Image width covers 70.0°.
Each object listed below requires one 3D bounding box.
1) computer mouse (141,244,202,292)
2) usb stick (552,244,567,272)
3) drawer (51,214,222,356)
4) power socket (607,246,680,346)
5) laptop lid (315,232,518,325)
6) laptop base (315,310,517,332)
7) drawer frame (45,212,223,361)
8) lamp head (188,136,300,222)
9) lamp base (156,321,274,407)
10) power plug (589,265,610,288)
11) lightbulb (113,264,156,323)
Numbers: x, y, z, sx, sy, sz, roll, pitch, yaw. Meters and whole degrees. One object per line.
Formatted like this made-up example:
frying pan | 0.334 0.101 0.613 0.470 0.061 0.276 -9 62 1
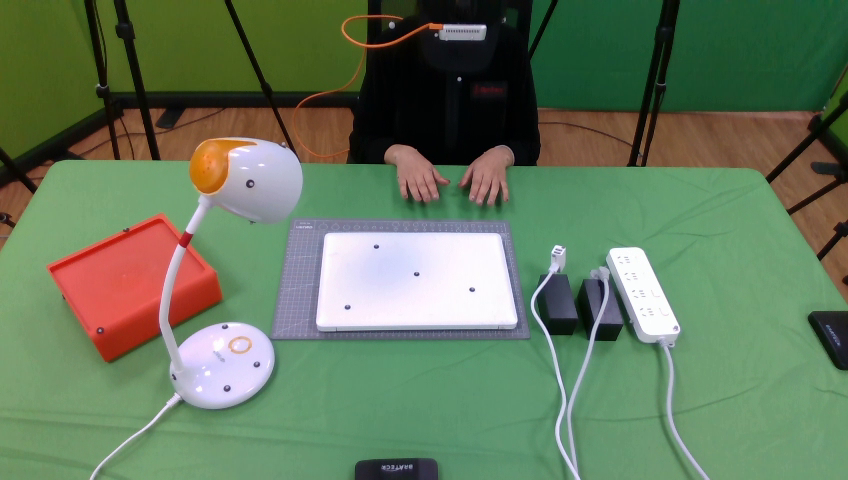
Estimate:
computer mouse | -0.460 0.044 1.099 0.116 0.041 0.063 29 52 29
usb stick | 0.251 0.039 1.123 0.021 0.059 0.027 14 47 24
drawer | -0.495 0.071 1.053 0.212 0.073 0.193 -32 57 -29
power socket | 0.403 0.096 1.123 0.072 0.033 0.225 -2 46 -5
laptop lid | -0.015 0.065 1.118 0.357 0.013 0.240 1 43 -3
laptop base | -0.016 0.075 1.125 0.355 0.023 0.234 0 42 -4
drawer frame | -0.496 0.073 1.049 0.213 0.083 0.200 -33 56 -29
lamp head | -0.240 -0.081 0.773 0.112 0.112 0.123 35 15 26
lamp base | -0.328 0.151 0.916 0.160 0.181 0.179 29 53 22
power plug | 0.317 0.073 1.108 0.035 0.053 0.072 26 34 13
lightbulb | -0.494 0.091 1.045 0.059 0.060 0.107 9 62 5
